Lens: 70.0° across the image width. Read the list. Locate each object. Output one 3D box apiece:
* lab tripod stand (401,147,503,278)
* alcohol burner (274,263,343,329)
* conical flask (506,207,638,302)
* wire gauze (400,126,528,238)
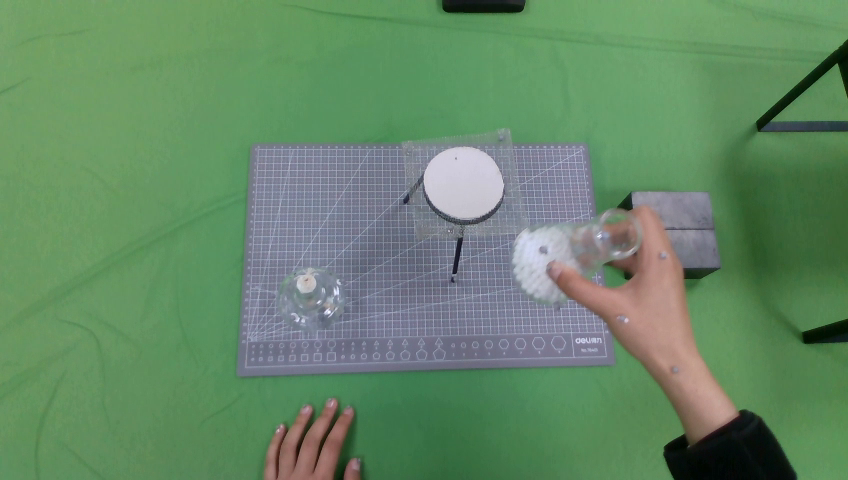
[{"bbox_3d":[0.040,-0.044,0.714,0.148,0.132,0.147,1,70,-4],"label":"lab tripod stand"},{"bbox_3d":[-0.131,0.058,0.680,0.078,0.119,0.077,2,70,-5],"label":"alcohol burner"},{"bbox_3d":[0.123,0.007,0.495,0.075,0.122,0.075,4,75,-16],"label":"conical flask"},{"bbox_3d":[0.042,-0.062,0.649,0.125,0.011,0.120,-5,73,-7],"label":"wire gauze"}]
